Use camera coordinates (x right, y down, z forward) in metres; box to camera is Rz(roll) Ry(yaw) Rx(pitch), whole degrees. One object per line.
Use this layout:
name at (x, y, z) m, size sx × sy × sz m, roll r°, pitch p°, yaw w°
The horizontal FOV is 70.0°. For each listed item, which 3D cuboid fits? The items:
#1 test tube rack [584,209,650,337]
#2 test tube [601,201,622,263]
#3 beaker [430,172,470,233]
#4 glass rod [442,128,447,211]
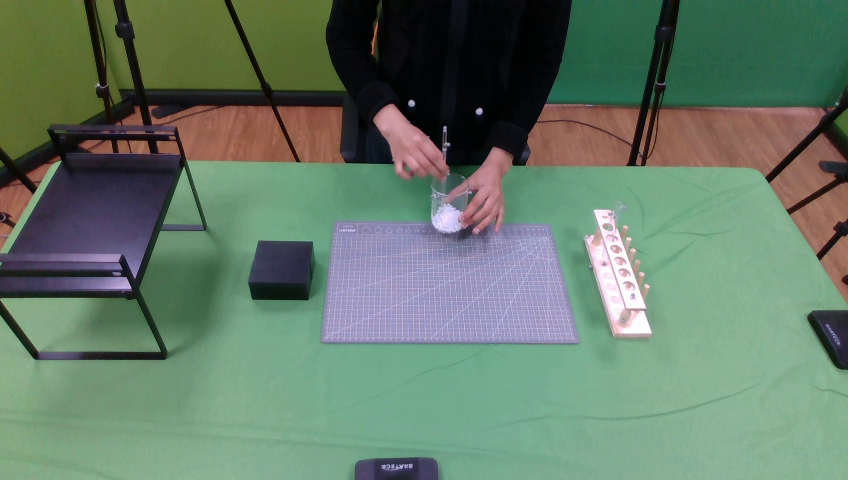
test tube rack at (0.365, 0.056, 1.129) m, size 0.067 × 0.085 × 0.240 m, roll 1°, pitch 46°, yaw -4°
test tube at (0.346, -0.012, 1.123) m, size 0.017 × 0.151 × 0.017 m, roll -2°, pitch 45°, yaw 2°
beaker at (0.047, -0.071, 1.176) m, size 0.074 × 0.101 × 0.083 m, roll -16°, pitch 44°, yaw -18°
glass rod at (0.039, -0.127, 1.143) m, size 0.008 × 0.201 × 0.008 m, roll 0°, pitch 46°, yaw 0°
